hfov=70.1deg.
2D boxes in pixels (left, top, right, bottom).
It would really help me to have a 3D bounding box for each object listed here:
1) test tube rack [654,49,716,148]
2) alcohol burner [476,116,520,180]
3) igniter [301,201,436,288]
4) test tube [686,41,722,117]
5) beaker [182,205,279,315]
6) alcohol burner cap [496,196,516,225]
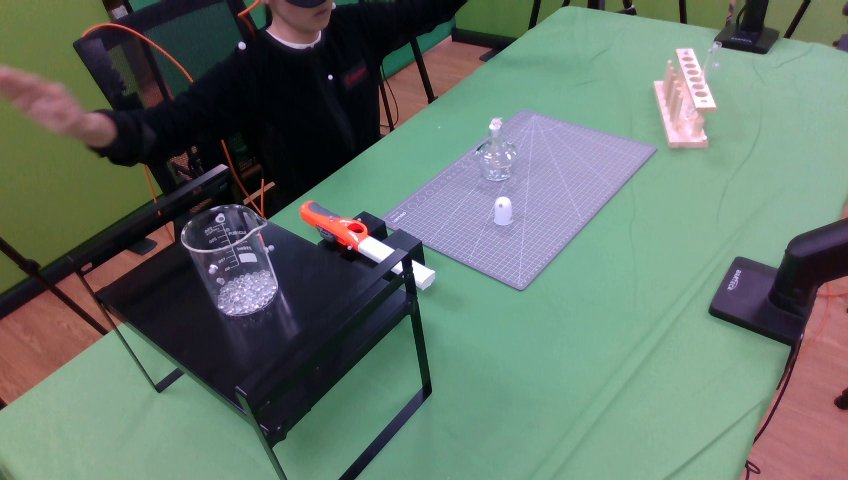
[{"bbox_3d":[0.502,-0.281,1.176,0.066,0.085,0.241,1,41,11],"label":"test tube rack"},{"bbox_3d":[0.131,-0.167,1.075,0.078,0.119,0.077,-6,42,6],"label":"alcohol burner"},{"bbox_3d":[-0.094,0.001,0.913,0.274,0.025,0.057,28,49,32],"label":"igniter"},{"bbox_3d":[0.510,-0.290,1.105,0.017,0.150,0.017,2,44,-1],"label":"test tube"},{"bbox_3d":[-0.197,0.024,0.641,0.084,0.101,0.073,-12,41,-6],"label":"beaker"},{"bbox_3d":[0.134,-0.051,0.995,0.034,0.048,0.033,-5,43,5],"label":"alcohol burner cap"}]
